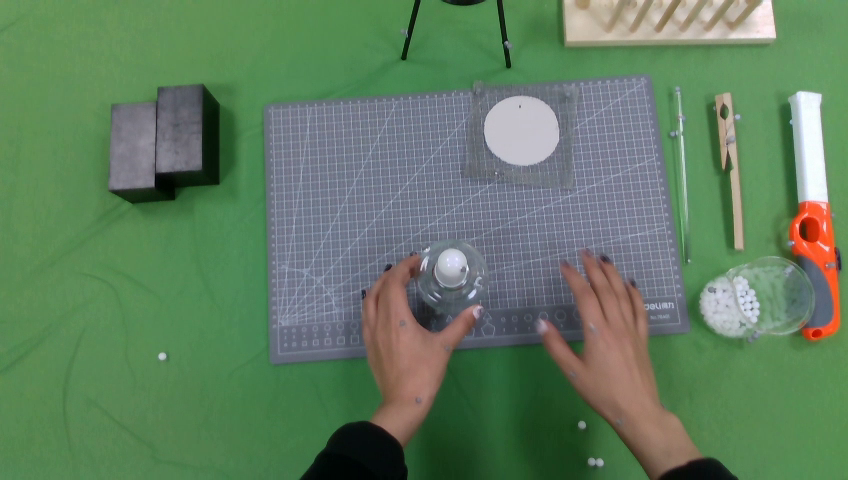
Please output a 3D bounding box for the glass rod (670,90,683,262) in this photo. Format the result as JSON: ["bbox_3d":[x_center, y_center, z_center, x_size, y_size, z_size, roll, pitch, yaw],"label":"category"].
[{"bbox_3d":[0.284,-0.074,0.681,0.008,0.008,0.199,1,81,1],"label":"glass rod"}]

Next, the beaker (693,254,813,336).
[{"bbox_3d":[0.320,0.058,0.608,0.084,0.100,0.074,27,80,8],"label":"beaker"}]

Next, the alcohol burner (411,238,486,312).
[{"bbox_3d":[0.024,0.032,0.608,0.078,0.119,0.077,-1,77,3],"label":"alcohol burner"}]

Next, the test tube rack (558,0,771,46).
[{"bbox_3d":[0.281,-0.273,0.682,0.242,0.085,0.066,-1,78,1],"label":"test tube rack"}]

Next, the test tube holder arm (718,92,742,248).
[{"bbox_3d":[0.340,-0.079,0.675,0.013,0.015,0.177,-9,77,34],"label":"test tube holder arm"}]

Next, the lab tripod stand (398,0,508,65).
[{"bbox_3d":[0.035,-0.259,0.658,0.148,0.132,0.148,0,80,1],"label":"lab tripod stand"}]

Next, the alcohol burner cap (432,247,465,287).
[{"bbox_3d":[0.024,0.023,0.573,0.034,0.048,0.033,1,73,-1],"label":"alcohol burner cap"}]

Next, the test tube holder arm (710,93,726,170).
[{"bbox_3d":[0.334,-0.123,0.686,0.010,0.015,0.087,-9,77,34],"label":"test tube holder arm"}]

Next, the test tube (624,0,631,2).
[{"bbox_3d":[0.242,-0.297,0.636,0.017,0.150,0.017,1,80,-4],"label":"test tube"}]

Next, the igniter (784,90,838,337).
[{"bbox_3d":[0.419,-0.032,0.661,0.057,0.025,0.275,5,79,-9],"label":"igniter"}]

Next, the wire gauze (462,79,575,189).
[{"bbox_3d":[0.108,-0.124,0.692,0.125,0.011,0.121,7,80,1],"label":"wire gauze"}]
